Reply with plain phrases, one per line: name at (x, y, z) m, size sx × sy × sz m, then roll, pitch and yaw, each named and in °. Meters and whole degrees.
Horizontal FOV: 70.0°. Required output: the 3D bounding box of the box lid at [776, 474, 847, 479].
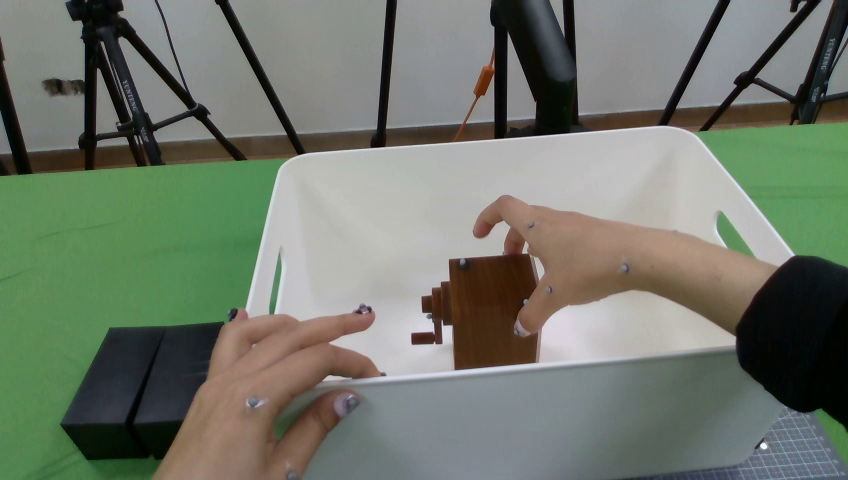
box lid at (0.320, 0.256, 0.344) m, size 0.372 × 0.015 × 0.260 m, roll -4°, pitch 40°, yaw -1°

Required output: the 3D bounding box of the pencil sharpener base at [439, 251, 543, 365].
pencil sharpener base at (0.052, 0.068, 0.499) m, size 0.077 × 0.108 × 0.061 m, roll -4°, pitch 41°, yaw 1°

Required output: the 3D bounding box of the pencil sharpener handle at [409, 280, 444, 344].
pencil sharpener handle at (0.001, 0.062, 0.492) m, size 0.030 × 0.068 × 0.035 m, roll -4°, pitch 43°, yaw 1°

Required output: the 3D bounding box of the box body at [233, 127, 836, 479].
box body at (0.065, 0.050, 0.489) m, size 0.364 × 0.162 × 0.251 m, roll -5°, pitch 40°, yaw -2°
